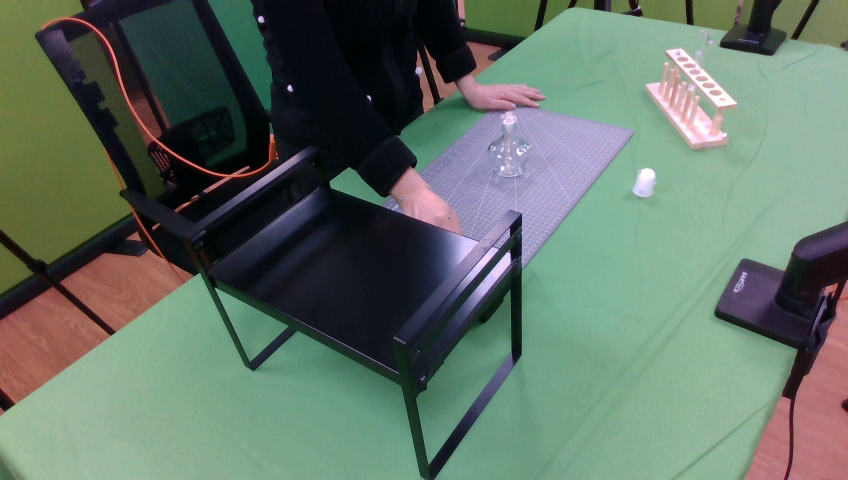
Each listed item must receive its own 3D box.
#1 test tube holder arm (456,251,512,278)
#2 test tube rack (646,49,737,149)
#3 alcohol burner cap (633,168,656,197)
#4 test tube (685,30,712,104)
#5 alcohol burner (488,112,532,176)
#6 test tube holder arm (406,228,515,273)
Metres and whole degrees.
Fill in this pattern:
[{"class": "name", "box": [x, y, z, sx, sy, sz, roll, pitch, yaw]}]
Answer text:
[{"class": "test tube holder arm", "box": [0.083, 0.031, 0.845, 0.087, 0.015, 0.010, 21, 47, 30]}, {"class": "test tube rack", "box": [0.511, -0.280, 1.175, 0.067, 0.085, 0.241, -8, 41, 0]}, {"class": "alcohol burner cap", "box": [0.374, -0.099, 1.018, 0.034, 0.048, 0.033, 0, 41, 1]}, {"class": "test tube", "box": [0.521, -0.325, 1.150, 0.017, 0.151, 0.017, -3, 45, 3]}, {"class": "alcohol burner", "box": [0.154, -0.176, 1.084, 0.078, 0.119, 0.077, -3, 41, 3]}, {"class": "test tube holder arm", "box": [0.049, 0.014, 0.870, 0.177, 0.015, 0.013, 20, 46, 28]}]
